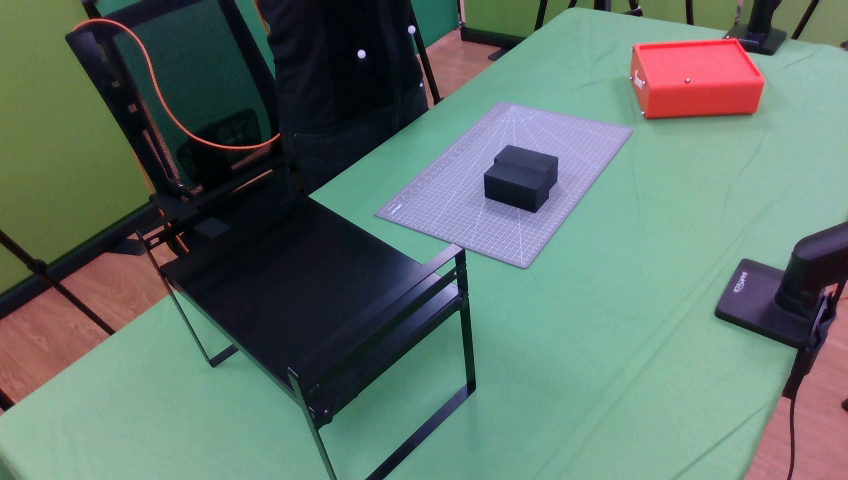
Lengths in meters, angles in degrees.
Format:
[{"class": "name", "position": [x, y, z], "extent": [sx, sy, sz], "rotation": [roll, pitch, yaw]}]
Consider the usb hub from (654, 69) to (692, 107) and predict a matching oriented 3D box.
[{"class": "usb hub", "position": [0.511, -0.313, 1.241], "extent": [0.049, 0.025, 0.124], "rotation": [-2, 39, 9]}]

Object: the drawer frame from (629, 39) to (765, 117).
[{"class": "drawer frame", "position": [0.543, -0.332, 1.234], "extent": [0.213, 0.083, 0.201], "rotation": [-1, 41, 6]}]

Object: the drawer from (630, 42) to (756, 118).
[{"class": "drawer", "position": [0.541, -0.331, 1.234], "extent": [0.211, 0.073, 0.194], "rotation": [-1, 40, 8]}]
